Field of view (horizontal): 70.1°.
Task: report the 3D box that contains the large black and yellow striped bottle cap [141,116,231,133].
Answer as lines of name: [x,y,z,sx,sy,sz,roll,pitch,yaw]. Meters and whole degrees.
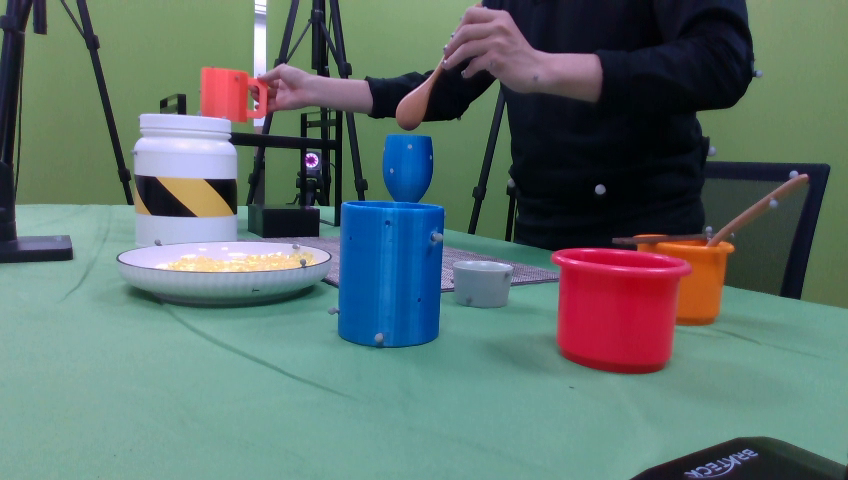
large black and yellow striped bottle cap: [-0.324,-0.157,0.826,0.115,0.019,0.115,1,7,0]

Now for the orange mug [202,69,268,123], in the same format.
orange mug: [-0.371,-0.282,1.187,0.126,0.101,0.083,-2,12,-10]

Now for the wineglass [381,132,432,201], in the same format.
wineglass: [-0.026,-0.062,0.841,0.074,0.172,0.073,2,7,0]

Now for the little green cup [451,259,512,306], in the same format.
little green cup: [0.057,0.043,0.611,0.061,0.038,0.061,3,8,0]

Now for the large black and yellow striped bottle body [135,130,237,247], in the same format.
large black and yellow striped bottle body: [-0.327,-0.074,0.838,0.131,0.184,0.130,2,7,0]

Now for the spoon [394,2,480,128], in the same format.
spoon: [0.018,-0.237,0.822,0.041,0.193,0.022,37,10,12]

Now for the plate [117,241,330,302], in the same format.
plate: [-0.203,0.031,0.630,0.209,0.038,0.209,3,7,0]

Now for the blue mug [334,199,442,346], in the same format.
blue mug: [-0.034,0.020,0.498,0.083,0.106,0.116,0,7,-19]

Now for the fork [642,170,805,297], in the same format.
fork: [0.261,0.003,0.545,0.028,0.018,0.207,5,-37,-15]

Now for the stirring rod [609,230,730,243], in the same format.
stirring rod: [0.241,-0.004,0.582,0.177,0.006,0.014,-4,10,-33]

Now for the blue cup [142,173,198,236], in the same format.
blue cup: [-0.425,-0.059,1.013,0.093,0.100,0.092,4,8,0]
